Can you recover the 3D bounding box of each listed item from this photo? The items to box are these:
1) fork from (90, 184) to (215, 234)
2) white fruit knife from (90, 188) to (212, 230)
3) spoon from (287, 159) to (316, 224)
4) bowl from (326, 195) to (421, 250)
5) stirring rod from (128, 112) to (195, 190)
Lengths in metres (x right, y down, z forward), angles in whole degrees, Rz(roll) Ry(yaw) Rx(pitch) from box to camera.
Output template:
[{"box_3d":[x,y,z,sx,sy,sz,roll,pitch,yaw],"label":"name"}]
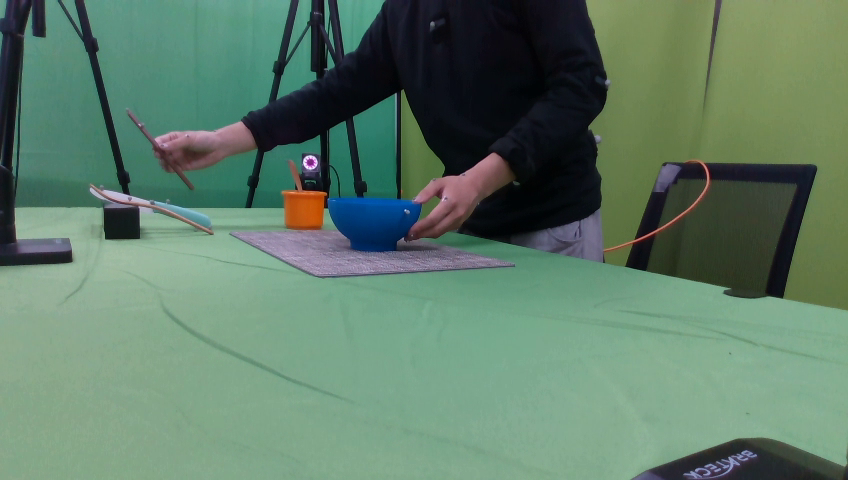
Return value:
[{"box_3d":[-0.452,-0.049,1.018,0.208,0.018,0.028,21,-8,-33],"label":"fork"},{"box_3d":[-0.478,-0.058,1.073,0.208,0.027,0.016,17,-5,-30],"label":"white fruit knife"},{"box_3d":[-0.261,-0.104,1.263,0.042,0.193,0.021,-1,-37,-28],"label":"spoon"},{"box_3d":[-0.081,-0.027,0.958,0.151,0.077,0.151,2,7,0],"label":"bowl"},{"box_3d":[-0.489,-0.165,1.131,0.006,0.176,0.014,-33,21,7],"label":"stirring rod"}]
